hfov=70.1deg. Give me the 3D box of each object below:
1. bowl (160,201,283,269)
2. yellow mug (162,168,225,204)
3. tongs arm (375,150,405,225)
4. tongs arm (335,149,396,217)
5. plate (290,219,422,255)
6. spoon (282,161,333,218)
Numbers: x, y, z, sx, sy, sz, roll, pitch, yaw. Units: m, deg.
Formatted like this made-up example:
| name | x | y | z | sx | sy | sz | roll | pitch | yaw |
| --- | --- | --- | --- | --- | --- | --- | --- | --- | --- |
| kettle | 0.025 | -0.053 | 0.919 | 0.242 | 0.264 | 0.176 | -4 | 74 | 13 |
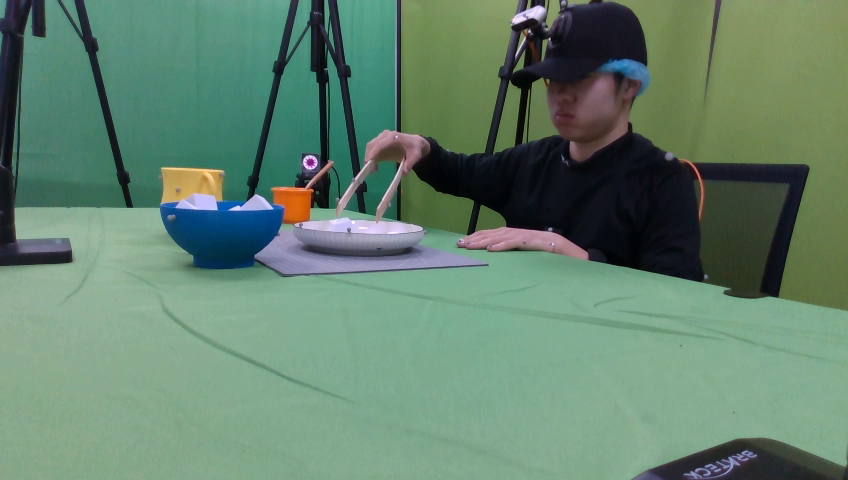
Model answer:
| name | x | y | z | sx | sy | sz | roll | pitch | yaw |
| --- | --- | --- | --- | --- | --- | --- | --- | --- | --- |
| bowl | -0.259 | -0.007 | 0.783 | 0.151 | 0.077 | 0.151 | 2 | 8 | 0 |
| yellow mug | -0.383 | -0.087 | 1.026 | 0.130 | 0.064 | 0.100 | 11 | 11 | 44 |
| tongs arm | -0.063 | -0.106 | 1.113 | 0.028 | 0.028 | 0.387 | 5 | 22 | 2 |
| tongs arm | -0.100 | -0.113 | 1.114 | 0.051 | 0.026 | 0.384 | 8 | 22 | 1 |
| plate | -0.108 | -0.005 | 0.963 | 0.208 | 0.039 | 0.207 | 3 | 7 | 0 |
| spoon | -0.262 | -0.115 | 1.359 | 0.041 | 0.194 | 0.022 | 14 | -32 | 36 |
